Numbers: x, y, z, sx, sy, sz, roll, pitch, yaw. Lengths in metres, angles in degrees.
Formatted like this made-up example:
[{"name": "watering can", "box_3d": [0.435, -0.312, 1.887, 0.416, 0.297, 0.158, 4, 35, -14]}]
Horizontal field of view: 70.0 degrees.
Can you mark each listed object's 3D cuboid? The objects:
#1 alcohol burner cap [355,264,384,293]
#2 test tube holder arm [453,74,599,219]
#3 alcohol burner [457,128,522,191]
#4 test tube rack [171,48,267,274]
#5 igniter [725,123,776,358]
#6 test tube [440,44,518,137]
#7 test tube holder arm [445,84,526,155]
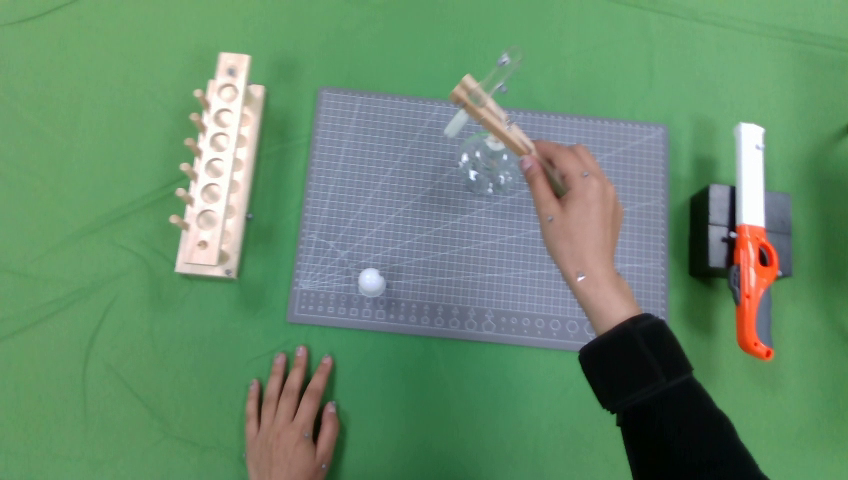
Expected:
[{"name": "alcohol burner cap", "box_3d": [-0.063, 0.042, 0.695, 0.034, 0.048, 0.033, 1, 79, -5]}, {"name": "test tube holder arm", "box_3d": [0.094, -0.082, 0.548, 0.179, 0.015, 0.013, 42, 75, -9]}, {"name": "alcohol burner", "box_3d": [0.078, -0.099, 0.699, 0.078, 0.119, 0.077, 0, 78, -1]}, {"name": "test tube rack", "box_3d": [-0.239, -0.090, 0.693, 0.067, 0.085, 0.241, 6, 77, -2]}, {"name": "igniter", "box_3d": [0.375, -0.005, 0.696, 0.057, 0.025, 0.275, 8, 74, -4]}, {"name": "test tube", "box_3d": [0.043, -0.125, 0.531, 0.017, 0.150, 0.017, 5, 75, -17]}, {"name": "test tube holder arm", "box_3d": [0.056, -0.107, 0.540, 0.088, 0.015, 0.010, 36, 75, -10]}]
